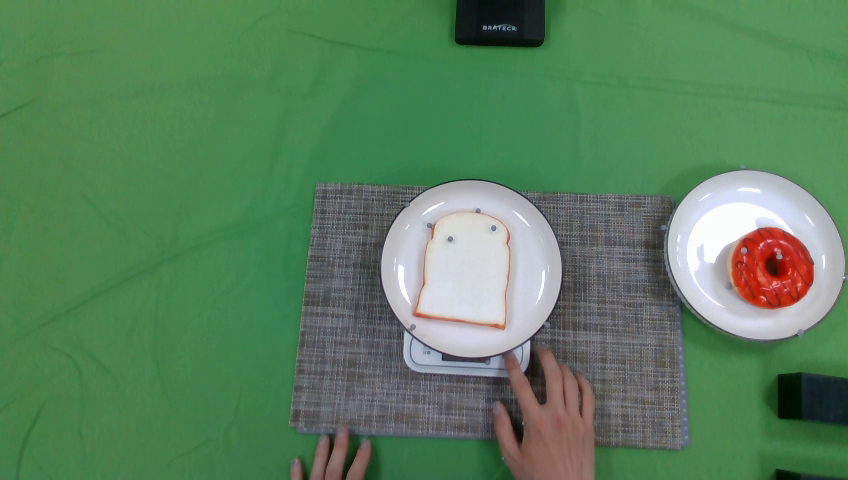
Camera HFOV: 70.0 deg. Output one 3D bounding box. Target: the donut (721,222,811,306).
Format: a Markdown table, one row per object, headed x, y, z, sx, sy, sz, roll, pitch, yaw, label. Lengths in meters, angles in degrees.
| x | y | z | sx | sy | sz | roll | pitch | yaw | label |
| --- | --- | --- | --- | --- | --- | --- | --- | --- | --- |
| 0.399 | 0.029 | 0.708 | 0.099 | 0.048 | 0.098 | 0 | 80 | 0 | donut |

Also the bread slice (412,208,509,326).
| x | y | z | sx | sy | sz | roll | pitch | yaw | label |
| --- | --- | --- | --- | --- | --- | --- | --- | --- | --- |
| 0.046 | 0.027 | 0.697 | 0.105 | 0.019 | 0.131 | 7 | 77 | 2 | bread slice |

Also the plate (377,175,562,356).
| x | y | z | sx | sy | sz | roll | pitch | yaw | label |
| --- | --- | --- | --- | --- | --- | --- | --- | --- | --- |
| 0.051 | 0.028 | 0.695 | 0.209 | 0.038 | 0.208 | 0 | 76 | 1 | plate |

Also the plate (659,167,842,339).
| x | y | z | sx | sy | sz | roll | pitch | yaw | label |
| --- | --- | --- | --- | --- | --- | --- | --- | --- | --- |
| 0.383 | 0.016 | 0.724 | 0.207 | 0.039 | 0.206 | 0 | 76 | 1 | plate |

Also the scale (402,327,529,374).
| x | y | z | sx | sy | sz | roll | pitch | yaw | label |
| --- | --- | --- | --- | --- | --- | --- | --- | --- | --- |
| 0.052 | 0.055 | 0.722 | 0.148 | 0.032 | 0.200 | 3 | 77 | 2 | scale |
